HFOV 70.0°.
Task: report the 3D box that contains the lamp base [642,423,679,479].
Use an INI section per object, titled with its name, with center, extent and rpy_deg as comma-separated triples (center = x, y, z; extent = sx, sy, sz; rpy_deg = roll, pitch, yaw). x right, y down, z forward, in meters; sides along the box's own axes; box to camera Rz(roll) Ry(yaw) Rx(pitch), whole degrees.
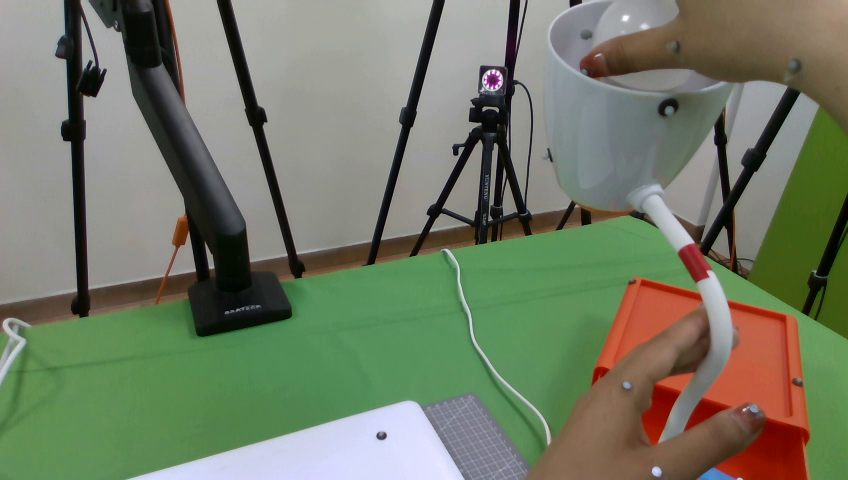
[lamp base]
center = 0.156, 0.226, 0.397
extent = 0.161, 0.181, 0.177
rpy_deg = 0, 25, -9

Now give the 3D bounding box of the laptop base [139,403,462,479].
[laptop base]
center = -0.123, 0.258, 0.490
extent = 0.355, 0.023, 0.233
rpy_deg = -10, 33, -23

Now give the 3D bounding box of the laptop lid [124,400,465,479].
[laptop lid]
center = -0.121, 0.249, 0.482
extent = 0.358, 0.013, 0.239
rpy_deg = -9, 32, -22

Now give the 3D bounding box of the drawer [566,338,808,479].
[drawer]
center = 0.259, 0.189, 0.596
extent = 0.193, 0.074, 0.211
rpy_deg = 12, 28, 21

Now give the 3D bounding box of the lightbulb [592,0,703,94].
[lightbulb]
center = 0.127, -0.096, 0.365
extent = 0.059, 0.108, 0.059
rpy_deg = 0, 52, 0

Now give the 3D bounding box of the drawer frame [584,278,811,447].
[drawer frame]
center = 0.307, 0.143, 0.686
extent = 0.200, 0.083, 0.213
rpy_deg = 14, 28, 21

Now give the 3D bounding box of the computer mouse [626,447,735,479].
[computer mouse]
center = 0.239, 0.228, 0.550
extent = 0.117, 0.041, 0.062
rpy_deg = 14, 28, 13

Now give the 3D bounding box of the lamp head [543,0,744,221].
[lamp head]
center = 0.129, -0.072, 0.388
extent = 0.112, 0.124, 0.111
rpy_deg = -2, 42, 2
